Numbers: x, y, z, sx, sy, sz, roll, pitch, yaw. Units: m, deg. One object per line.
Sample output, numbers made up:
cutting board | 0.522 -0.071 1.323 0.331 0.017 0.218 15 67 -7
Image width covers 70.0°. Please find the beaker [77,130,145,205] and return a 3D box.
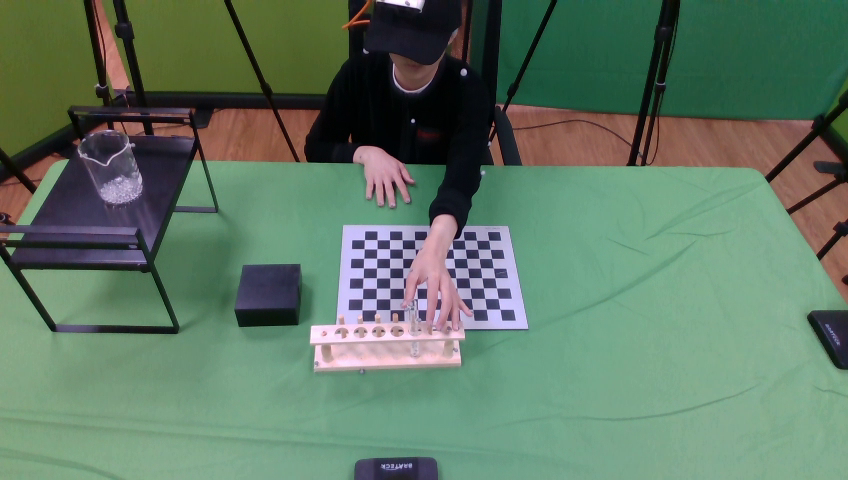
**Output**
beaker | -0.493 -0.111 0.965 0.074 0.101 0.083 -14 49 -16

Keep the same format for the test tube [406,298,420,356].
test tube | -0.017 0.139 0.945 0.017 0.151 0.017 -1 50 1

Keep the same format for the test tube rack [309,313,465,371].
test tube rack | -0.059 0.161 0.990 0.242 0.085 0.066 -1 46 -5
